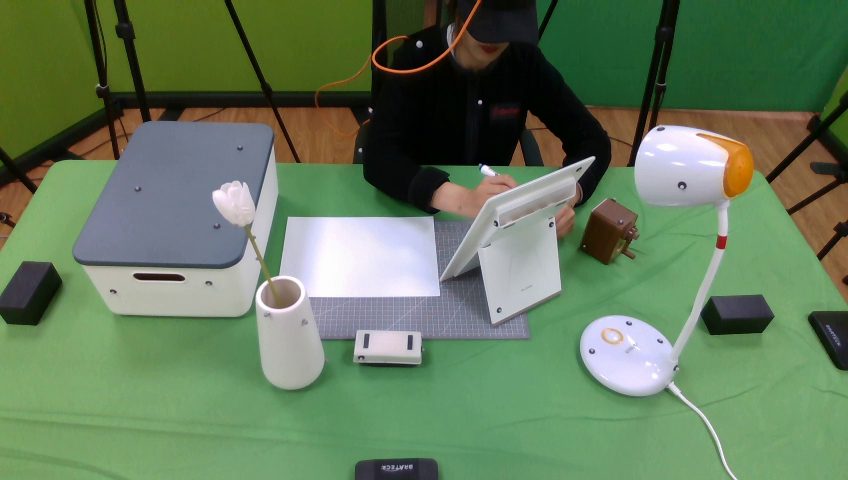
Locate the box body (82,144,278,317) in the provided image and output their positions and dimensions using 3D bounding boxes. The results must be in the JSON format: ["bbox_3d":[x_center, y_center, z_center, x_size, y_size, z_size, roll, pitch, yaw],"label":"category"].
[{"bbox_3d":[-0.421,-0.041,1.108,0.254,0.161,0.361,2,46,-3],"label":"box body"}]

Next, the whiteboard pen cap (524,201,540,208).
[{"bbox_3d":[0.229,-0.075,1.288,0.033,0.018,0.018,-2,46,8],"label":"whiteboard pen cap"}]

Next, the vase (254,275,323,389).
[{"bbox_3d":[-0.209,0.143,0.921,0.098,0.201,0.097,1,46,-1],"label":"vase"}]

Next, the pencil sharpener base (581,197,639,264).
[{"bbox_3d":[0.362,-0.017,1.179,0.076,0.107,0.061,37,54,27],"label":"pencil sharpener base"}]

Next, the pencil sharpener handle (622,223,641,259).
[{"bbox_3d":[0.398,0.003,1.146,0.030,0.068,0.036,37,46,27],"label":"pencil sharpener handle"}]

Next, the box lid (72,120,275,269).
[{"bbox_3d":[-0.417,-0.094,1.056,0.263,0.015,0.369,1,47,-3],"label":"box lid"}]

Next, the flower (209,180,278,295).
[{"bbox_3d":[-0.216,0.075,0.871,0.044,0.363,0.038,-29,36,-19],"label":"flower"}]

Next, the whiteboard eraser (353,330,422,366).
[{"bbox_3d":[-0.060,0.180,1.005,0.113,0.042,0.055,2,47,-2],"label":"whiteboard eraser"}]

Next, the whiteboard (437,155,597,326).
[{"bbox_3d":[0.180,0.024,1.029,0.217,0.306,0.143,-21,70,-23],"label":"whiteboard"}]

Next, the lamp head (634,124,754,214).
[{"bbox_3d":[0.351,-0.089,0.776,0.112,0.113,0.122,-30,30,-28],"label":"lamp head"}]

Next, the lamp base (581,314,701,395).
[{"bbox_3d":[0.361,0.145,0.973,0.178,0.181,0.160,34,53,23],"label":"lamp base"}]

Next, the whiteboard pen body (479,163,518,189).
[{"bbox_3d":[0.153,-0.099,1.083,0.017,0.017,0.140,-33,57,-30],"label":"whiteboard pen body"}]
